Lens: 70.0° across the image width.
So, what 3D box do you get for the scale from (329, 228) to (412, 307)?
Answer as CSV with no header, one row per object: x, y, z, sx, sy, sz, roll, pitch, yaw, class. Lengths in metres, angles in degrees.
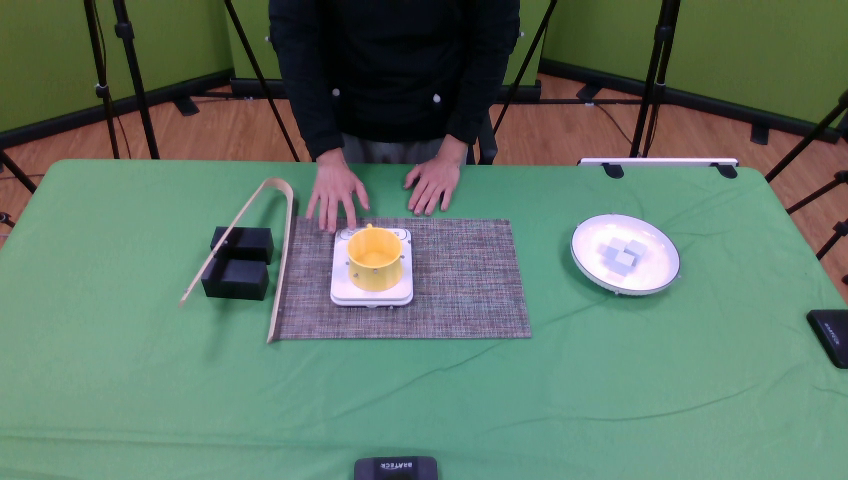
-0.099,0.042,1.139,0.149,0.032,0.199,1,45,-4,scale

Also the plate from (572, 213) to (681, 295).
0.392,0.030,1.189,0.208,0.039,0.206,2,46,-2,plate

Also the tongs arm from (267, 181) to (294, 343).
-0.273,0.027,1.144,0.028,0.028,0.385,17,42,-22,tongs arm

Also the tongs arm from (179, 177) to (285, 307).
-0.342,-0.008,1.118,0.051,0.026,0.382,29,38,-14,tongs arm

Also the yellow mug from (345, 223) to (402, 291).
-0.092,0.022,1.093,0.100,0.064,0.130,-7,46,-10,yellow mug
